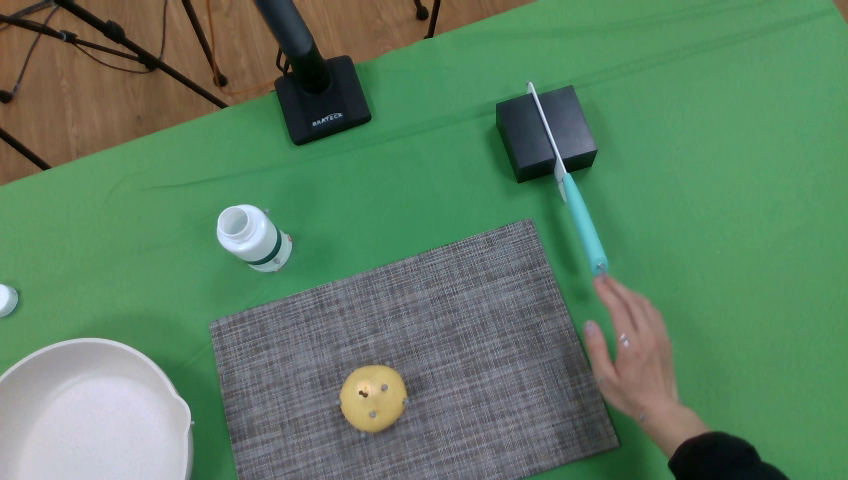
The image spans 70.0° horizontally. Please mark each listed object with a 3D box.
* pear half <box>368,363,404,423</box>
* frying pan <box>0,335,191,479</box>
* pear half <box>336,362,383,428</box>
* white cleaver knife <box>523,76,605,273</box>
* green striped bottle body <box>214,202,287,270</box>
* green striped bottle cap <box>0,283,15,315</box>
[{"bbox_3d":[-0.041,0.176,0.710,0.031,0.088,0.070,-15,67,2],"label":"pear half"},{"bbox_3d":[-0.378,0.349,0.685,0.307,0.103,0.483,-23,64,-1],"label":"frying pan"},{"bbox_3d":[-0.077,0.180,0.702,0.056,0.110,0.075,-14,67,2],"label":"pear half"},{"bbox_3d":[0.178,-0.090,0.788,0.021,0.066,0.284,-18,70,7],"label":"white cleaver knife"},{"bbox_3d":[-0.223,-0.007,0.773,0.063,0.120,0.063,-2,72,5],"label":"green striped bottle body"},{"bbox_3d":[-0.589,0.080,0.833,0.044,0.020,0.044,-2,73,6],"label":"green striped bottle cap"}]
